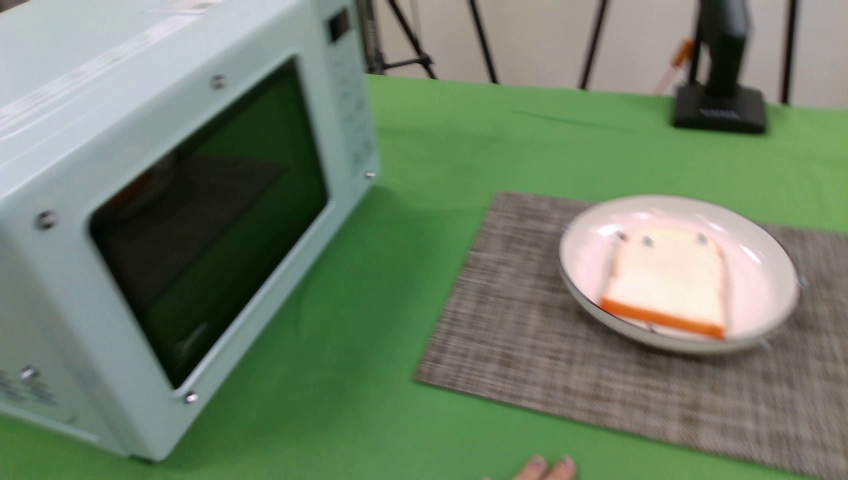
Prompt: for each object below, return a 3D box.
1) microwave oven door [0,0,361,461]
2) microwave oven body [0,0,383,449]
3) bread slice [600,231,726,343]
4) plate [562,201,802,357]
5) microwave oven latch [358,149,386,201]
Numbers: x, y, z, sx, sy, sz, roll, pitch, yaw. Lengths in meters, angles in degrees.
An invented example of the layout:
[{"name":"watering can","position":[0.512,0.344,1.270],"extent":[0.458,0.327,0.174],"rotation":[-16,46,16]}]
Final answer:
[{"name":"microwave oven door","position":[-0.157,-0.031,0.510],"extent":[0.039,0.246,0.354],"rotation":[10,40,18]},{"name":"microwave oven body","position":[-0.279,-0.075,0.589],"extent":[0.324,0.262,0.439],"rotation":[10,41,18]},{"name":"bread slice","position":[0.232,0.036,0.577],"extent":[0.104,0.019,0.131],"rotation":[12,42,19]},{"name":"plate","position":[0.236,0.035,0.575],"extent":[0.209,0.038,0.207],"rotation":[-3,38,3]},{"name":"microwave oven latch","position":[-0.072,-0.080,0.732],"extent":[0.030,0.030,0.079],"rotation":[11,41,18]}]
